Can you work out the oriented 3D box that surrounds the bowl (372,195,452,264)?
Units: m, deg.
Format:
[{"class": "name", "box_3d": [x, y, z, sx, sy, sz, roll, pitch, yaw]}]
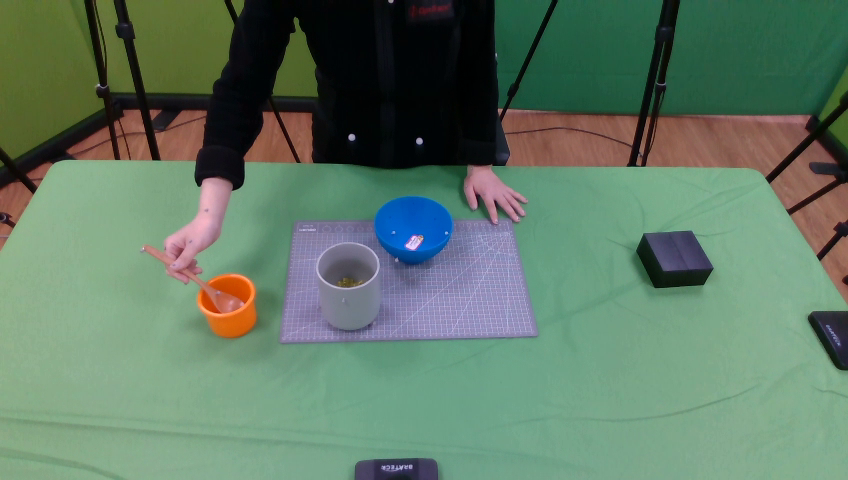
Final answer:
[{"class": "bowl", "box_3d": [-0.023, -0.008, 1.161, 0.151, 0.077, 0.150, 2, 46, -2]}]

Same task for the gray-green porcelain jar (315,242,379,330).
[{"class": "gray-green porcelain jar", "box_3d": [-0.129, 0.084, 1.031, 0.106, 0.127, 0.105, 2, 46, -2]}]

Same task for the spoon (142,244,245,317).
[{"class": "spoon", "box_3d": [-0.374, 0.065, 0.991, 0.195, 0.021, 0.041, 44, 43, -25]}]
